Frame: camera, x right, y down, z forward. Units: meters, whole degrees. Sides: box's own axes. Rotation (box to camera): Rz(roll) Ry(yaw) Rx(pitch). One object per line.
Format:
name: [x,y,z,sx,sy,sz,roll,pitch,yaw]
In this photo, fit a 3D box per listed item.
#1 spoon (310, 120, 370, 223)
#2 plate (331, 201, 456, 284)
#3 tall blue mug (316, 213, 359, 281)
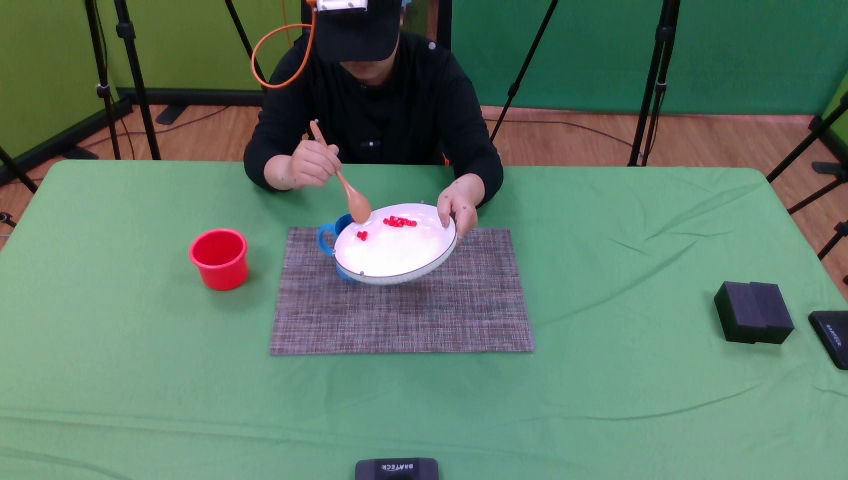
spoon: [-0.147,-0.116,1.035,0.041,0.021,0.194,-34,100,-26]
plate: [-0.048,0.007,1.000,0.207,0.039,0.206,-8,35,6]
tall blue mug: [-0.142,0.014,1.109,0.107,0.108,0.077,-5,48,-9]
